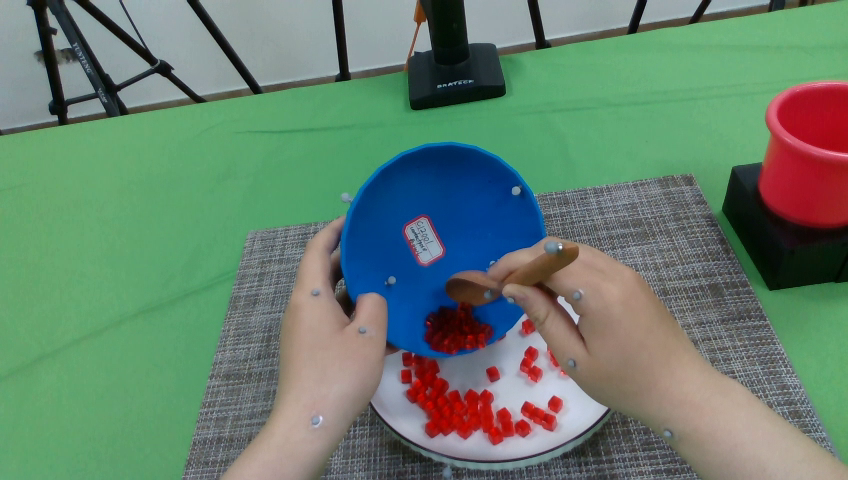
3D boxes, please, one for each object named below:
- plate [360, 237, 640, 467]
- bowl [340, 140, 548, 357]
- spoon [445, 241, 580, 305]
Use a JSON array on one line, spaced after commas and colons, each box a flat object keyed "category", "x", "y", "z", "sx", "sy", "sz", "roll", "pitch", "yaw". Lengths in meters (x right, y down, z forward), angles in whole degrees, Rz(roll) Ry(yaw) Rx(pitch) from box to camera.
[{"category": "plate", "x": 0.056, "y": 0.078, "z": 0.467, "sx": 0.207, "sy": 0.039, "sz": 0.205, "roll": -6, "pitch": 45, "yaw": 7}, {"category": "bowl", "x": 0.007, "y": 0.005, "z": 0.450, "sx": 0.151, "sy": 0.152, "sz": 0.076, "roll": -25, "pitch": 11, "yaw": -13}, {"category": "spoon", "x": 0.051, "y": 0.025, "z": 0.370, "sx": 0.042, "sy": 0.193, "sz": 0.021, "roll": 18, "pitch": 79, "yaw": -8}]
